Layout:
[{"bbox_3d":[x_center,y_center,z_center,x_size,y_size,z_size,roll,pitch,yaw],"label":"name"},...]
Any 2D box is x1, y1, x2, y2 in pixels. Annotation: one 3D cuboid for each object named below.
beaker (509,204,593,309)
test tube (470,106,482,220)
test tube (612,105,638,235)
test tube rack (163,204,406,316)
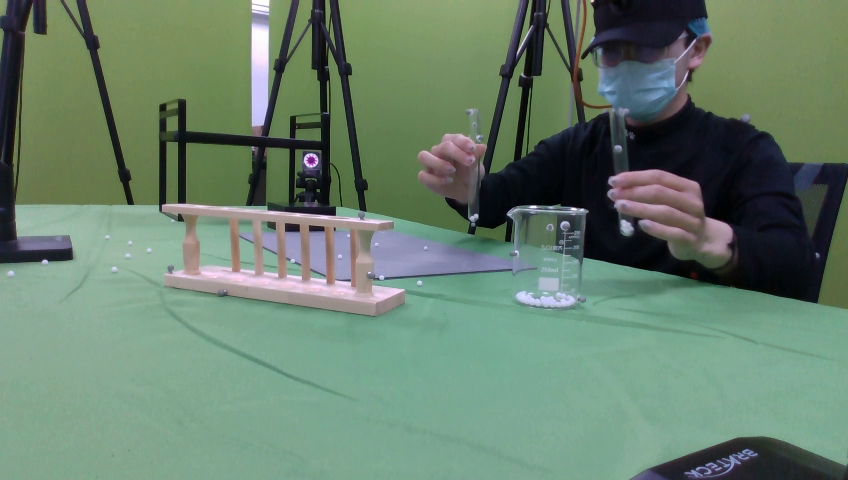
[{"bbox_3d":[0.125,0.015,0.613,0.084,0.100,0.074,1,7,-5],"label":"beaker"},{"bbox_3d":[0.069,-0.101,0.800,0.017,0.150,0.017,0,5,0],"label":"test tube"},{"bbox_3d":[0.230,-0.078,0.691,0.017,0.150,0.017,-9,12,2],"label":"test tube"},{"bbox_3d":[-0.141,0.013,0.601,0.241,0.085,0.067,5,8,21],"label":"test tube rack"}]
